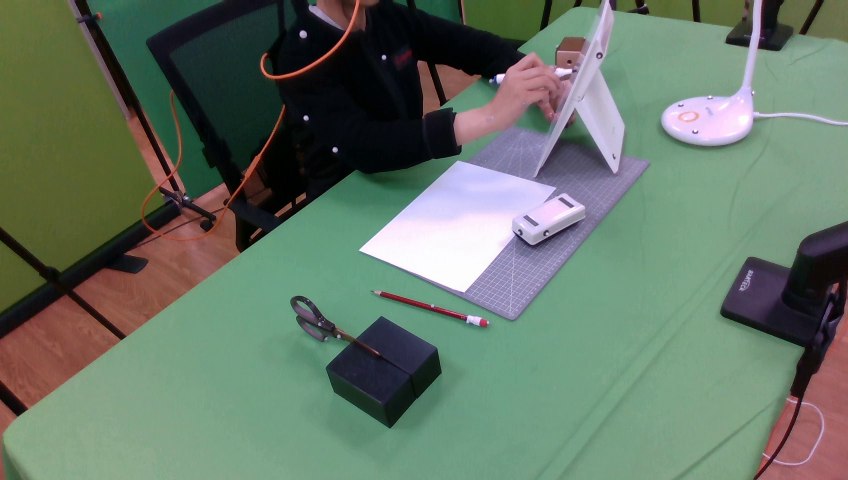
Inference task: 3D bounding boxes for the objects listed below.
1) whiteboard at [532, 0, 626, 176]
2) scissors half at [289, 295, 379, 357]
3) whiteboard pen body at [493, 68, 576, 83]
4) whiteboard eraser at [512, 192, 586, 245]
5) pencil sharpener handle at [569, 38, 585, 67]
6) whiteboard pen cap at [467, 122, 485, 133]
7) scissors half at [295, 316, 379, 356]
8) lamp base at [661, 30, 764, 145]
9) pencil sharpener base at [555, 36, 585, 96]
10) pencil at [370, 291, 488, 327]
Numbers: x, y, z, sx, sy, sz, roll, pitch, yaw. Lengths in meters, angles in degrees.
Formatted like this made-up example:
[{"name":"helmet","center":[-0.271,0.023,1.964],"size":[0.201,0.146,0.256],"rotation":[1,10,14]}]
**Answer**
[{"name":"whiteboard","center":[0.321,-0.258,1.050],"size":[0.144,0.306,0.217],"rotation":[22,45,5]},{"name":"scissors half","center":[-0.122,0.114,0.803],"size":[0.174,0.040,0.013],"rotation":[26,50,32]},{"name":"whiteboard pen body","center":[0.187,-0.281,1.028],"size":[0.140,0.017,0.017],"rotation":[-1,41,19]},{"name":"whiteboard eraser","center":[0.199,-0.032,0.962],"size":[0.113,0.042,0.055],"rotation":[-27,42,-20]},{"name":"pencil sharpener handle","center":[0.333,-0.413,1.318],"size":[0.036,0.068,0.030],"rotation":[19,46,13]},{"name":"whiteboard pen cap","center":[0.106,-0.229,1.235],"size":[0.033,0.018,0.018],"rotation":[-18,41,-6]},{"name":"scissors half","center":[-0.119,0.131,0.813],"size":[0.173,0.040,0.013],"rotation":[9,34,45]},{"name":"lamp base","center":[0.535,-0.287,1.096],"size":[0.179,0.181,0.159],"rotation":[-10,40,-4]},{"name":"pencil sharpener base","center":[0.318,-0.371,1.290],"size":[0.061,0.107,0.076],"rotation":[10,44,22]},{"name":"pencil","center":[0.003,0.097,0.877],"size":[0.193,0.012,0.012],"rotation":[13,45,26]}]
